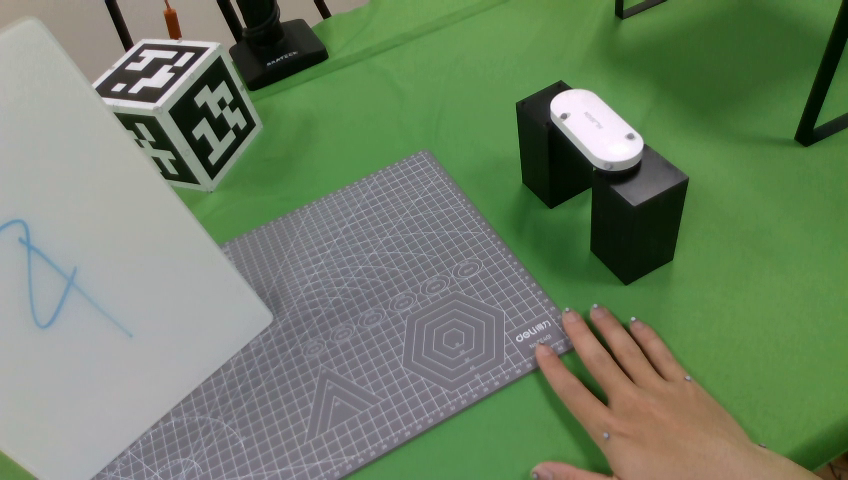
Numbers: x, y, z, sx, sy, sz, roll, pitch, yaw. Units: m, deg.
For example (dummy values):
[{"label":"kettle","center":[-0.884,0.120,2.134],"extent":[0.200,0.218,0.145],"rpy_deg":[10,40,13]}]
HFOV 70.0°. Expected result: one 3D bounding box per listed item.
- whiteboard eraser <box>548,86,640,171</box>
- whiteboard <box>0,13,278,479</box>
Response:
[{"label":"whiteboard eraser","center":[0.137,-0.094,0.495],"extent":[0.041,0.019,0.100],"rpy_deg":[-23,50,-7]},{"label":"whiteboard","center":[-0.312,0.014,0.495],"extent":[0.217,0.308,0.142],"rpy_deg":[-43,34,-21]}]
